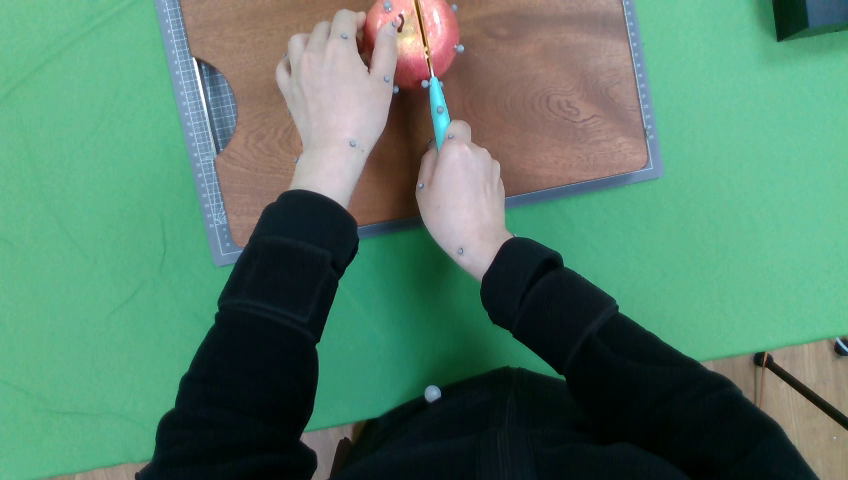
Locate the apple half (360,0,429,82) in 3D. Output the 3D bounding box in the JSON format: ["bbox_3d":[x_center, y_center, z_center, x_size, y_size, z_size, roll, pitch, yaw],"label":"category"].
[{"bbox_3d":[-0.027,-0.175,0.524,0.053,0.074,0.081,-13,97,6],"label":"apple half"}]

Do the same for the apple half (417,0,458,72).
[{"bbox_3d":[0.012,-0.184,0.524,0.033,0.081,0.081,-13,93,0],"label":"apple half"}]

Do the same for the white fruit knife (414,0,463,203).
[{"bbox_3d":[0.007,-0.133,0.514,0.016,0.027,0.207,-12,95,-4],"label":"white fruit knife"}]
